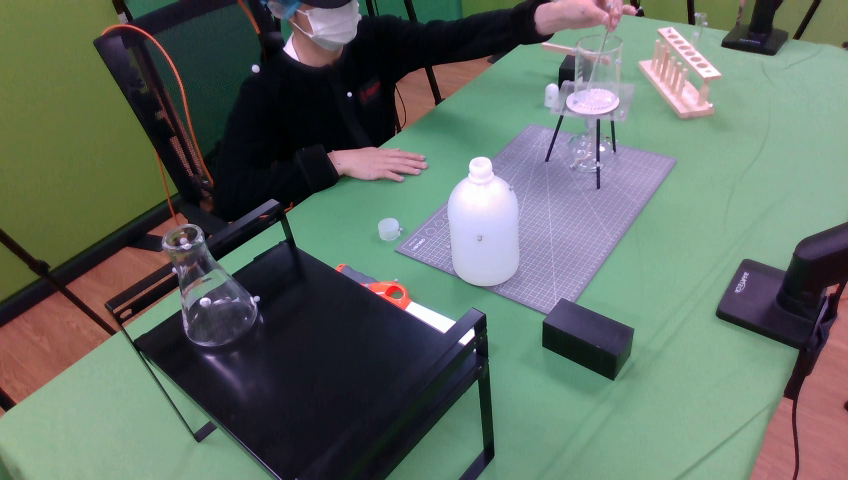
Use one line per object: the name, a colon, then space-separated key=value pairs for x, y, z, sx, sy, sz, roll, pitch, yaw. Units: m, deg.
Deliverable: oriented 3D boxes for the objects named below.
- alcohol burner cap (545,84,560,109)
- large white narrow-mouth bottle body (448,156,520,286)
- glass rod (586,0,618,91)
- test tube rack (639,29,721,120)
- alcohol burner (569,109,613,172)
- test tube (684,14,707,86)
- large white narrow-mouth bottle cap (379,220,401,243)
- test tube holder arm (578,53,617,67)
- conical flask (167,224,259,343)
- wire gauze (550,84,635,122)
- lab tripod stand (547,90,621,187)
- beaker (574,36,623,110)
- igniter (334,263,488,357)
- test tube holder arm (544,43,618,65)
alcohol burner cap: x=0.274 y=-0.307 z=1.285 sx=0.034 sy=0.048 sz=0.033 roll=-5 pitch=42 yaw=5
large white narrow-mouth bottle body: x=0.086 y=-0.032 z=0.869 sx=0.102 sy=0.195 sz=0.101 roll=-4 pitch=40 yaw=4
glass rod: x=0.285 y=-0.321 z=0.958 sx=0.008 sy=0.200 sz=0.008 roll=3 pitch=50 yaw=-3
test tube rack: x=0.527 y=-0.351 z=1.262 sx=0.067 sy=0.085 sz=0.241 roll=-8 pitch=40 yaw=1
alcohol burner: x=0.297 y=-0.181 z=1.073 sx=0.078 sy=0.119 sz=0.077 roll=-5 pitch=43 yaw=5
test tube: x=0.541 y=-0.379 z=1.216 sx=0.017 sy=0.151 sz=0.017 roll=-2 pitch=44 yaw=3
large white narrow-mouth bottle cap: x=-0.057 y=-0.015 z=1.011 sx=0.038 sy=0.024 sz=0.037 roll=-4 pitch=40 yaw=4
test tube holder arm: x=0.376 y=-0.394 z=1.314 sx=0.087 sy=0.015 sz=0.010 roll=26 pitch=49 yaw=32
conical flask: x=-0.220 y=0.041 z=0.613 sx=0.075 sy=0.122 sz=0.075 roll=-5 pitch=40 yaw=4
wire gauze: x=0.285 y=-0.234 z=1.021 sx=0.124 sy=0.011 sz=0.121 roll=8 pitch=41 yaw=24
lab tripod stand: x=0.289 y=-0.184 z=1.062 sx=0.148 sy=0.132 sz=0.147 roll=-6 pitch=41 yaw=6
beaker: x=0.285 y=-0.273 z=0.990 sx=0.073 sy=0.101 sz=0.084 roll=15 pitch=46 yaw=27
igniter: x=-0.030 y=0.095 z=0.872 sx=0.274 sy=0.025 sz=0.057 roll=23 pitch=60 yaw=31
test tube holder arm: x=0.345 y=-0.413 z=1.341 sx=0.177 sy=0.015 sz=0.013 roll=26 pitch=49 yaw=32
